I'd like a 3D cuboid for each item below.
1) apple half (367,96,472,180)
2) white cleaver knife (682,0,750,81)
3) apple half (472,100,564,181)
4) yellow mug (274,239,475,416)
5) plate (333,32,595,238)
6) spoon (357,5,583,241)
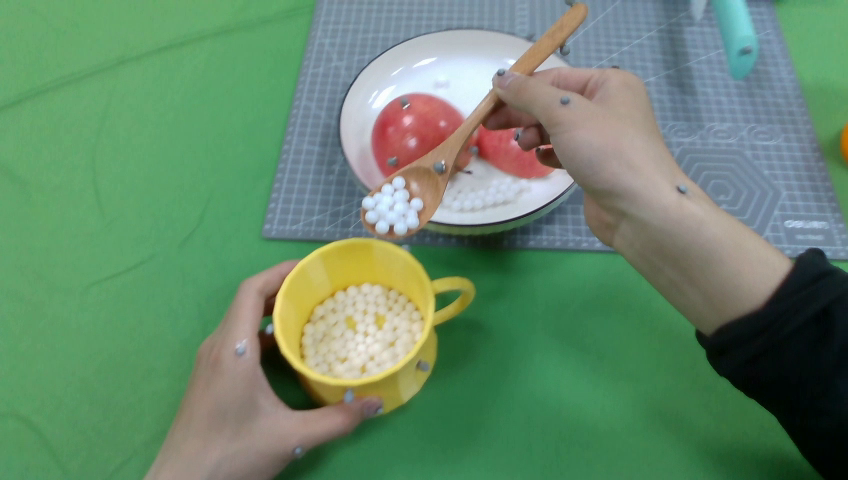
[{"bbox_3d":[-0.005,-0.082,0.475,0.081,0.054,0.074,-37,62,-18],"label":"apple half"},{"bbox_3d":[0.259,-0.246,0.571,0.021,0.066,0.284,0,55,7],"label":"white cleaver knife"},{"bbox_3d":[0.076,-0.089,0.488,0.081,0.033,0.080,0,62,1],"label":"apple half"},{"bbox_3d":[-0.027,0.053,0.400,0.131,0.064,0.099,-17,61,-11],"label":"yellow mug"},{"bbox_3d":[0.031,-0.087,0.496,0.209,0.038,0.207,0,59,1],"label":"plate"},{"bbox_3d":[0.033,-0.073,0.364,0.041,0.022,0.193,41,87,22],"label":"spoon"}]
